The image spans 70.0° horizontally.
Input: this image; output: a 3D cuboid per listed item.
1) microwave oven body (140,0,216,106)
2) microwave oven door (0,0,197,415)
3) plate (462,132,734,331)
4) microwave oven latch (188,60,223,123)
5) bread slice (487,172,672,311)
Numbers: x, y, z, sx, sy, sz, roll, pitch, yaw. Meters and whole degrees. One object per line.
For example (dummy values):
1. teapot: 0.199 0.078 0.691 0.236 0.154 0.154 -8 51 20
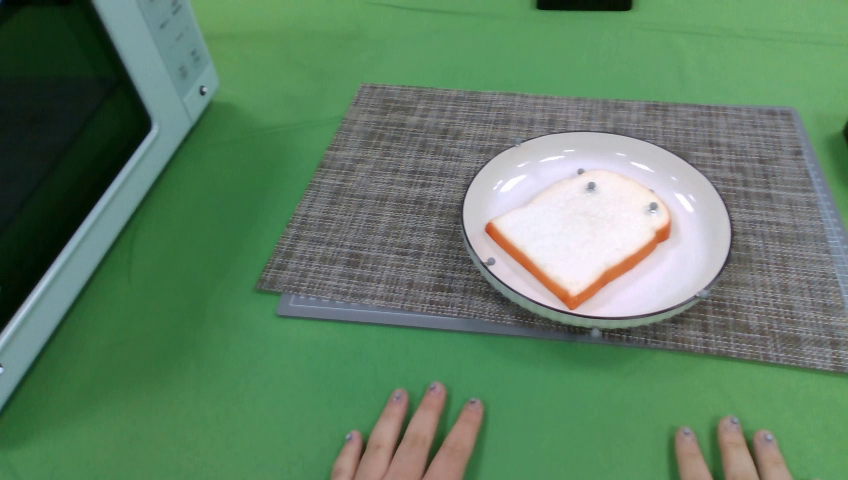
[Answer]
1. microwave oven body: -0.429 -0.108 0.489 0.325 0.263 0.438 5 49 10
2. microwave oven door: -0.293 -0.070 0.433 0.039 0.246 0.353 4 48 10
3. plate: 0.135 -0.010 0.491 0.209 0.038 0.207 -3 47 4
4. microwave oven latch: -0.243 -0.161 0.650 0.030 0.030 0.078 6 49 10
5. bread slice: 0.132 -0.011 0.494 0.131 0.019 0.104 -30 52 -21
